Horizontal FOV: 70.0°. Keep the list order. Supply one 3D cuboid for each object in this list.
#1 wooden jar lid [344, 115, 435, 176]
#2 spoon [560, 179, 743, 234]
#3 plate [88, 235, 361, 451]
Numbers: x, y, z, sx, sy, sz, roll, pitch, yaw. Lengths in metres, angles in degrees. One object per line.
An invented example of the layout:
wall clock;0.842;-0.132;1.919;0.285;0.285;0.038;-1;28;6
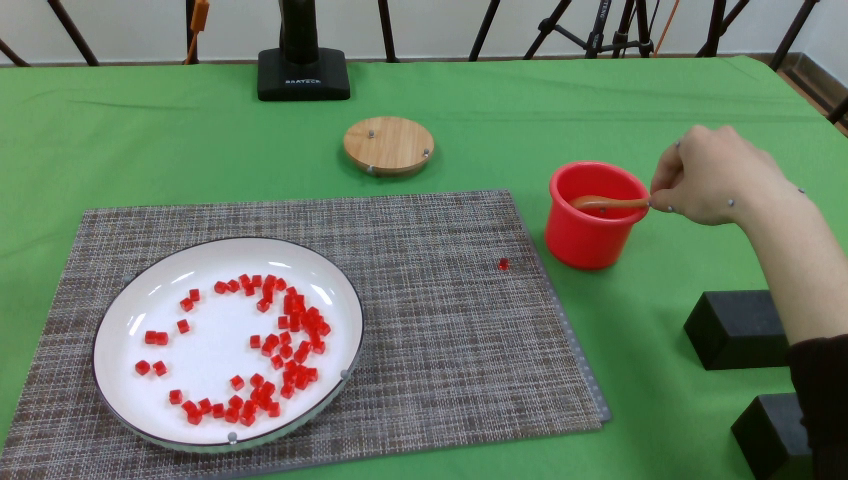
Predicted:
wooden jar lid;-0.041;-0.113;0.727;0.108;0.021;0.107;4;45;-4
spoon;0.207;-0.036;0.582;0.022;0.193;0.041;21;69;-39
plate;-0.156;0.080;0.498;0.208;0.039;0.205;4;44;-3
